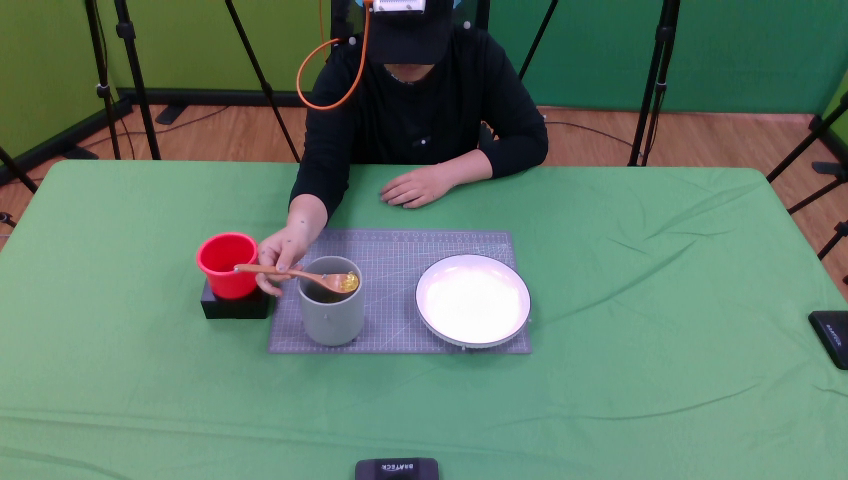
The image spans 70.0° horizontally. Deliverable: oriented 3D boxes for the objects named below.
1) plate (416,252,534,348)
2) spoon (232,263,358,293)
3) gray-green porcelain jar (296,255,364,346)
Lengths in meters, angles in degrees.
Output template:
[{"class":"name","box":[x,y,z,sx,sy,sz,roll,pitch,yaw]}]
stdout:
[{"class":"plate","box":[0.090,0.109,1.084,0.208,0.039,0.206,2,46,-2]},{"class":"spoon","box":[-0.199,0.054,0.948,0.194,0.022,0.041,13,45,-22]},{"class":"gray-green porcelain jar","box":[-0.153,0.106,1.008,0.106,0.127,0.105,2,46,-2]}]
